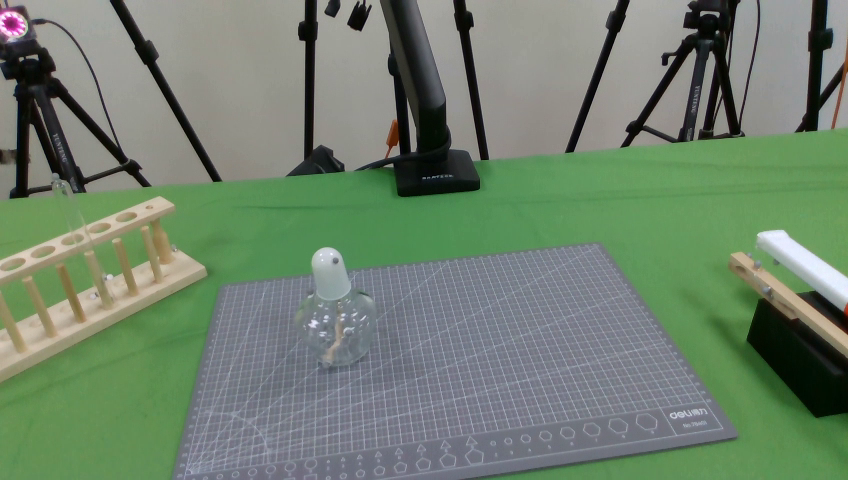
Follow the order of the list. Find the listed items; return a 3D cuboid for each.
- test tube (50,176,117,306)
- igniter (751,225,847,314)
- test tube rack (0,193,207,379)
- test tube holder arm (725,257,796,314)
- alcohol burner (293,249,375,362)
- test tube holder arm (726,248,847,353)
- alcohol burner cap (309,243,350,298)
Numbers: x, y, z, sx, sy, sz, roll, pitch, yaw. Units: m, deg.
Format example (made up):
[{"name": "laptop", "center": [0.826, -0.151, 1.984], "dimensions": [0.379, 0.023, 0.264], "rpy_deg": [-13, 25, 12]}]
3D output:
[{"name": "test tube", "center": [-0.337, 0.004, 0.603], "dimensions": [0.017, 0.151, 0.017], "rpy_deg": [-2, 34, 1]}, {"name": "igniter", "center": [0.379, 0.059, 0.520], "dimensions": [0.057, 0.025, 0.273], "rpy_deg": [-8, 30, -6]}, {"name": "test tube rack", "center": [-0.360, 0.043, 0.629], "dimensions": [0.066, 0.086, 0.242], "rpy_deg": [25, 42, 35]}, {"name": "test tube holder arm", "center": [0.315, 0.040, 0.565], "dimensions": [0.015, 0.010, 0.087], "rpy_deg": [-15, 32, -8]}, {"name": "alcohol burner", "center": [-0.085, 0.055, 0.560], "dimensions": [0.078, 0.120, 0.077], "rpy_deg": [0, 34, 1]}, {"name": "test tube holder arm", "center": [0.326, 0.056, 0.525], "dimensions": [0.015, 0.013, 0.176], "rpy_deg": [-15, 32, -8]}, {"name": "alcohol burner cap", "center": [-0.086, 0.025, 0.541], "dimensions": [0.034, 0.048, 0.033], "rpy_deg": [-3, 37, 3]}]
